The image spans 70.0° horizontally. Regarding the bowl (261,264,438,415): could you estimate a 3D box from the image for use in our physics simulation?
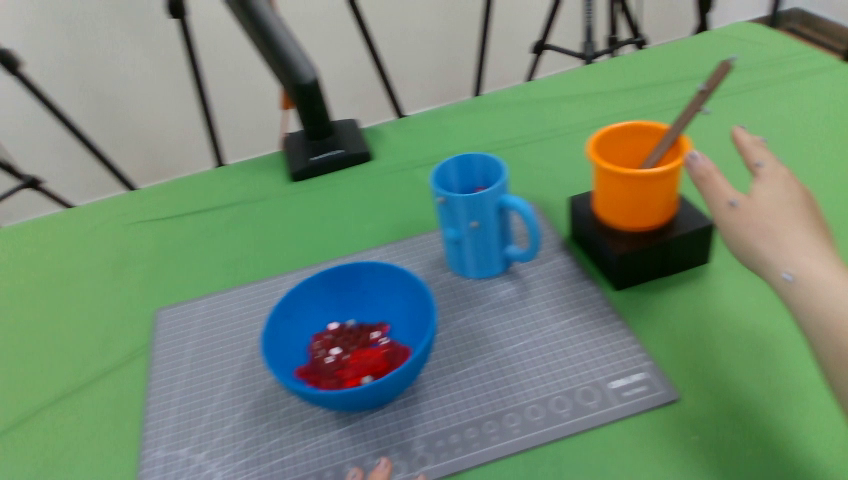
[{"bbox_3d":[-0.057,0.099,0.531,0.151,0.077,0.150,-7,39,6],"label":"bowl"}]

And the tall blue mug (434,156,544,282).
[{"bbox_3d":[0.070,-0.020,0.620,0.107,0.109,0.077,1,40,15],"label":"tall blue mug"}]

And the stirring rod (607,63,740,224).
[{"bbox_3d":[0.229,-0.087,0.564,0.176,0.006,0.014,-55,38,14],"label":"stirring rod"}]
